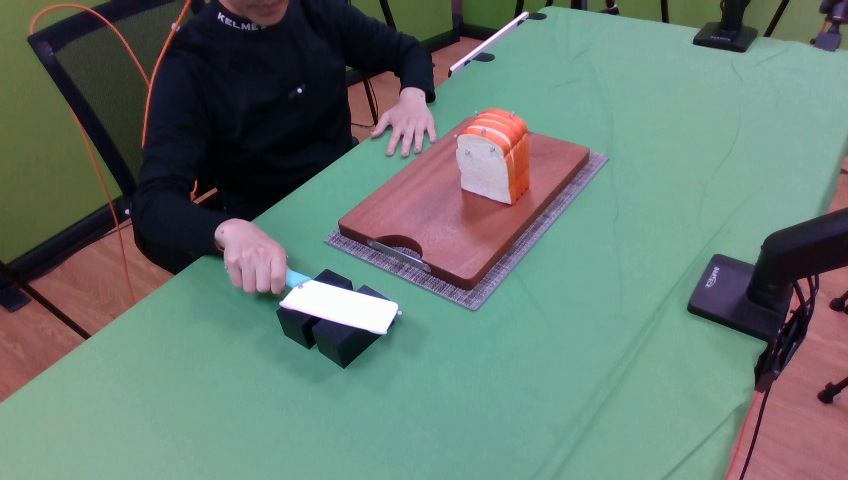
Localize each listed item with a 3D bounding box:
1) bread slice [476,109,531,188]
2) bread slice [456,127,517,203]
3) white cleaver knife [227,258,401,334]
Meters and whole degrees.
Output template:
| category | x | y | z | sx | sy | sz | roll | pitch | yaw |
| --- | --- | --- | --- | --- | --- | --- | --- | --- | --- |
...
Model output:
| category | x | y | z | sx | sy | sz | roll | pitch | yaw |
| --- | --- | --- | --- | --- | --- | --- | --- | --- | --- |
| bread slice | 0.130 | -0.152 | 0.999 | 0.106 | 0.135 | 0.018 | 23 | 49 | 28 |
| bread slice | 0.097 | -0.121 | 0.969 | 0.104 | 0.132 | 0.019 | 20 | 54 | 30 |
| white cleaver knife | -0.165 | 0.074 | 0.841 | 0.284 | 0.021 | 0.066 | 13 | 41 | 24 |
